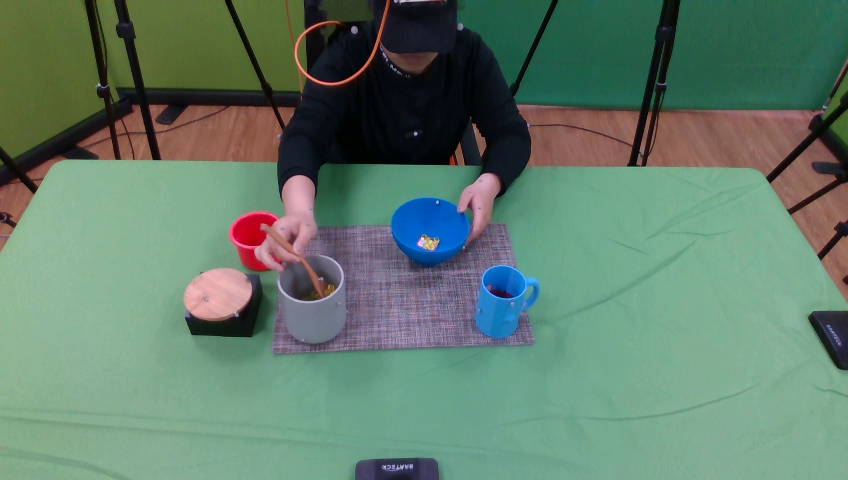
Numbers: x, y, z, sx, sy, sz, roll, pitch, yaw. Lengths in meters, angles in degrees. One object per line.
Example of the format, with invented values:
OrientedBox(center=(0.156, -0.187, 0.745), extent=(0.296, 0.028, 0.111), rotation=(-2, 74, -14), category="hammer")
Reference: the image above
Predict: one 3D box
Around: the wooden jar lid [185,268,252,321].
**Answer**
OrientedBox(center=(-0.343, 0.093, 1.015), extent=(0.108, 0.021, 0.107), rotation=(3, 46, -3), category="wooden jar lid")

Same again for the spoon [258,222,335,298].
OrientedBox(center=(-0.196, 0.039, 0.970), extent=(0.021, 0.195, 0.041), rotation=(-25, 31, 19), category="spoon")

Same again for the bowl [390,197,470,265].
OrientedBox(center=(0.010, -0.005, 1.160), extent=(0.151, 0.077, 0.150), rotation=(2, 46, -2), category="bowl")

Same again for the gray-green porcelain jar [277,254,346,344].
OrientedBox(center=(-0.184, 0.102, 1.008), extent=(0.106, 0.127, 0.105), rotation=(2, 46, -2), category="gray-green porcelain jar")

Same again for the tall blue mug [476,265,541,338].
OrientedBox(center=(0.142, 0.099, 1.047), extent=(0.077, 0.108, 0.107), rotation=(33, 53, 27), category="tall blue mug")
